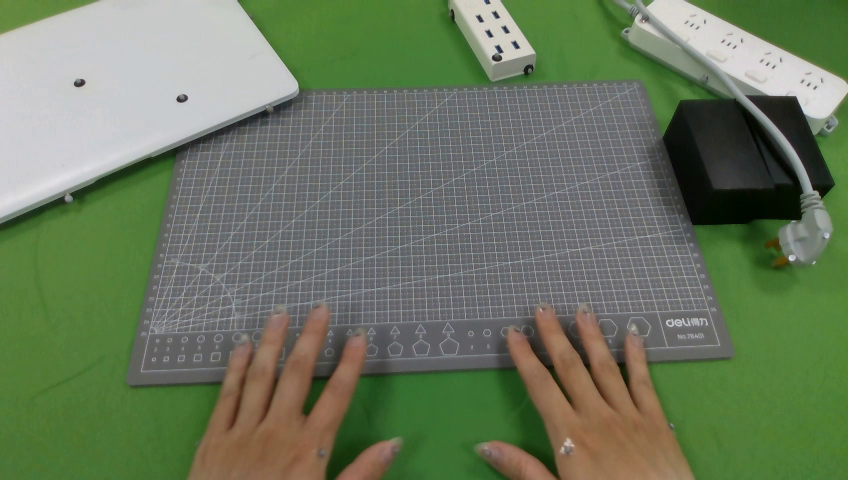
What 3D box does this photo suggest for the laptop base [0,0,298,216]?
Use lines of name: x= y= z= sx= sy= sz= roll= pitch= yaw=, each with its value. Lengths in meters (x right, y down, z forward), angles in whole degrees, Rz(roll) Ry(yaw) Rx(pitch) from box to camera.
laptop base: x=-0.328 y=-0.148 z=0.588 sx=0.354 sy=0.023 sz=0.233 roll=-28 pitch=65 yaw=-17

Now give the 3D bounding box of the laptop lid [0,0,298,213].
laptop lid: x=-0.327 y=-0.153 z=0.577 sx=0.357 sy=0.013 sz=0.239 roll=-27 pitch=63 yaw=-16

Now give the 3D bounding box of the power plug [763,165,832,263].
power plug: x=0.299 y=-0.016 z=0.490 sx=0.035 sy=0.052 sz=0.072 roll=21 pitch=60 yaw=-20

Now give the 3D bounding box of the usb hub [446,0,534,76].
usb hub: x=0.067 y=-0.226 z=0.637 sx=0.049 sy=0.025 sz=0.124 roll=-17 pitch=59 yaw=-11

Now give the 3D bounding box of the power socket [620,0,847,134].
power socket: x=0.308 y=-0.183 z=0.608 sx=0.225 sy=0.033 sz=0.072 roll=39 pitch=65 yaw=22
